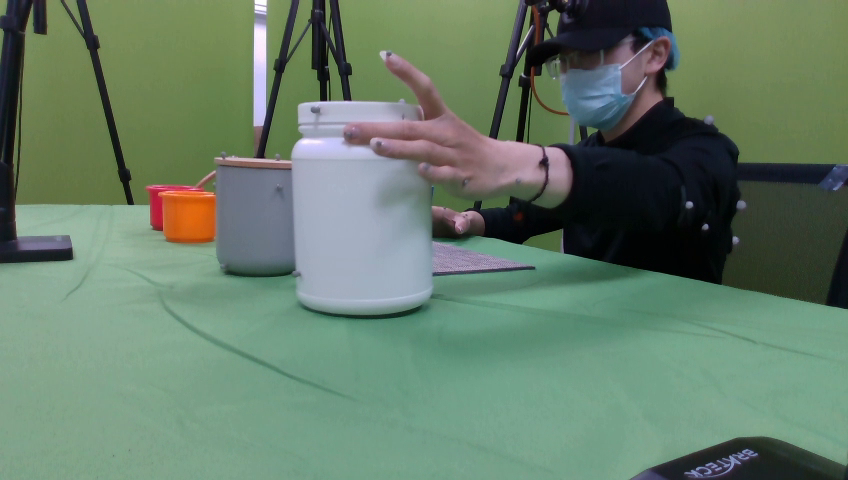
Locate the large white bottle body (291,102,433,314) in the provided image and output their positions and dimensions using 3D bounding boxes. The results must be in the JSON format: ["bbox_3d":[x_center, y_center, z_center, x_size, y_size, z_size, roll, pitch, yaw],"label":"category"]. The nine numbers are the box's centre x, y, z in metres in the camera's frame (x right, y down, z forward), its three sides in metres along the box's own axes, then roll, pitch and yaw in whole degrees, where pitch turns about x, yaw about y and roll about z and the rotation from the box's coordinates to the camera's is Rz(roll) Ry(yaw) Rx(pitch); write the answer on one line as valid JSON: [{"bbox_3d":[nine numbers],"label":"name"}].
[{"bbox_3d":[-0.057,-0.033,0.572,0.131,0.184,0.130,-1,8,0],"label":"large white bottle body"}]

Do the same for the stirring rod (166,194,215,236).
[{"bbox_3d":[-0.341,-0.066,0.967,0.176,0.006,0.014,-42,23,-9],"label":"stirring rod"}]

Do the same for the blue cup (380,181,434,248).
[{"bbox_3d":[-0.029,-0.042,0.979,0.093,0.100,0.092,2,9,0],"label":"blue cup"}]

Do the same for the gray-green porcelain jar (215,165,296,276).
[{"bbox_3d":[-0.195,-0.024,0.726,0.106,0.126,0.106,3,7,0],"label":"gray-green porcelain jar"}]

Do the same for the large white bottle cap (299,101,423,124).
[{"bbox_3d":[-0.058,-0.116,0.559,0.115,0.018,0.115,0,9,0],"label":"large white bottle cap"}]

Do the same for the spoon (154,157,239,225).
[{"bbox_3d":[-0.411,-0.092,1.104,0.194,0.022,0.041,-50,33,-20],"label":"spoon"}]

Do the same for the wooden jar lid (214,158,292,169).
[{"bbox_3d":[-0.193,-0.085,0.719,0.108,0.020,0.108,2,9,0],"label":"wooden jar lid"}]
